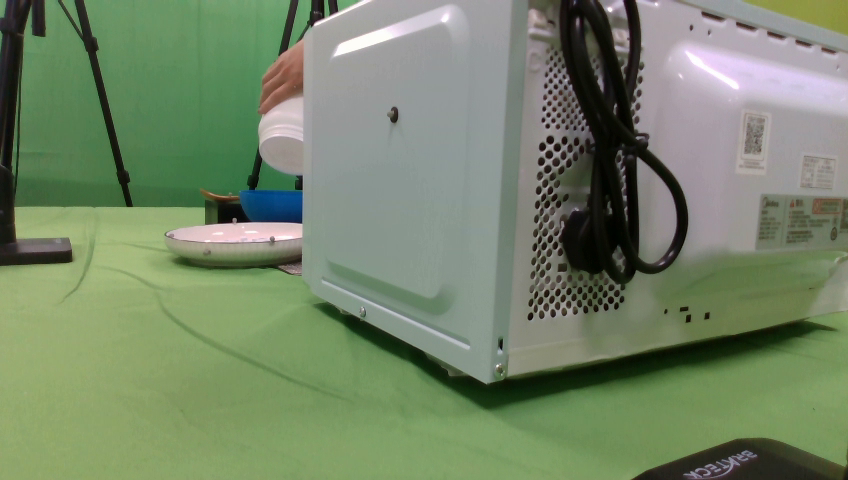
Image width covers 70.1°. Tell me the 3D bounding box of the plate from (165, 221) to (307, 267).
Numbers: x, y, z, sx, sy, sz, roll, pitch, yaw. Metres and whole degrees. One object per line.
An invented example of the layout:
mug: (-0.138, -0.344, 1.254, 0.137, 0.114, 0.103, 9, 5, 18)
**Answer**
plate: (-0.241, 0.004, 0.829, 0.209, 0.038, 0.209, 0, 9, 0)

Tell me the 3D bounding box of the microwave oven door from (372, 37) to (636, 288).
microwave oven door: (0.110, -0.080, 0.686, 0.358, 0.243, 0.039, -2, 9, -33)

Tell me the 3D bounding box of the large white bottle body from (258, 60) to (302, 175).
large white bottle body: (-0.230, -0.224, 1.117, 0.130, 0.184, 0.131, 4, -32, 3)

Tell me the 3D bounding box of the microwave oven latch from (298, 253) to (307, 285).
microwave oven latch: (-0.081, 0.027, 0.582, 0.079, 0.029, 0.030, -1, 7, -32)

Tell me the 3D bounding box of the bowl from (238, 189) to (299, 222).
bowl: (-0.245, -0.045, 1.053, 0.151, 0.077, 0.151, 2, 8, 0)

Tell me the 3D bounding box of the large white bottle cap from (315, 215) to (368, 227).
large white bottle cap: (-0.177, -0.041, 1.309, 0.115, 0.018, 0.115, 2, 6, 0)

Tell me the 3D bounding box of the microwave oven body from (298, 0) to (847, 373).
microwave oven body: (0.151, -0.055, 0.542, 0.444, 0.260, 0.324, -2, 7, -33)

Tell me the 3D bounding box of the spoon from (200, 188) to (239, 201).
spoon: (-0.338, -0.080, 1.190, 0.194, 0.021, 0.041, 5, 2, -19)
